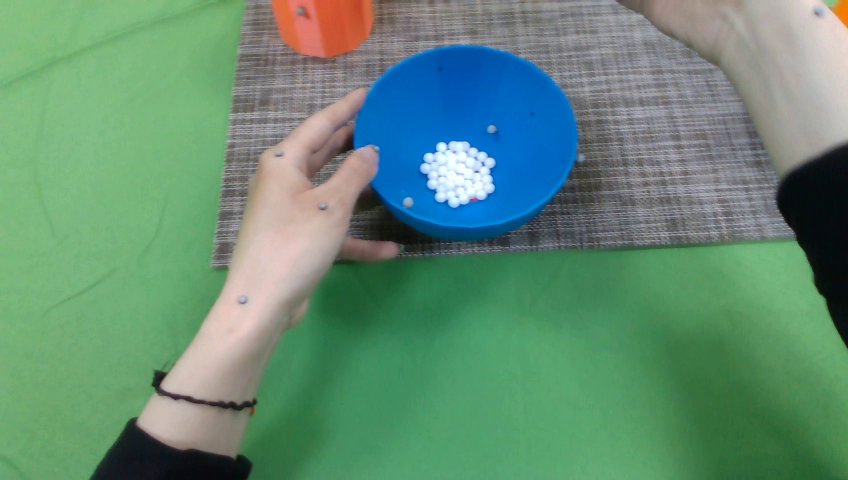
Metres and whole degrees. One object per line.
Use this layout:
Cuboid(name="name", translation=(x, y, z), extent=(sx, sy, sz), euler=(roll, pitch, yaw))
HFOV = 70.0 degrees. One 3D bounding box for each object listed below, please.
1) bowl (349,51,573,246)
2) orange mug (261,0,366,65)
Cuboid(name="bowl", translation=(0.025, -0.053, 0.438), extent=(0.151, 0.077, 0.150), euler=(0, 63, 0))
Cuboid(name="orange mug", translation=(-0.094, -0.230, 0.515), extent=(0.083, 0.101, 0.125), euler=(8, 68, 5))
